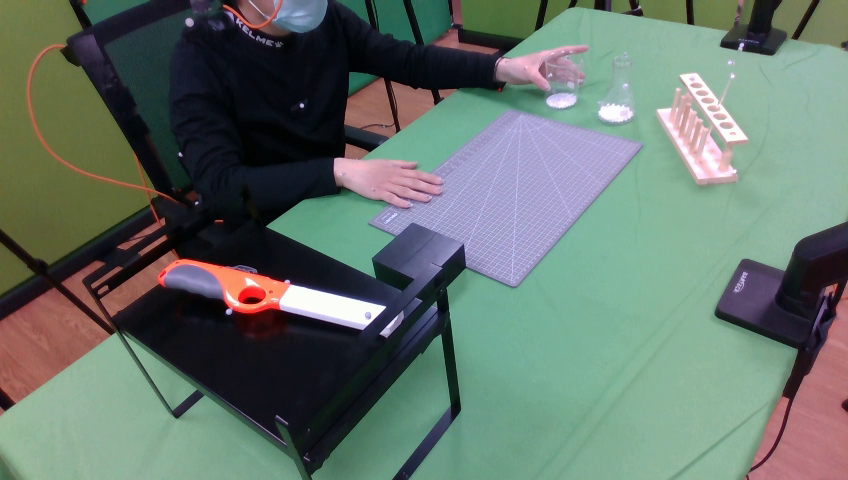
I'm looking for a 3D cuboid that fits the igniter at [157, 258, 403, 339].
[{"bbox_3d":[-0.157,0.059,0.638,0.275,0.025,0.057,11,43,14],"label":"igniter"}]

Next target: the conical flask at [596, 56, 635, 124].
[{"bbox_3d":[0.380,-0.294,1.185,0.075,0.122,0.075,-4,41,4],"label":"conical flask"}]

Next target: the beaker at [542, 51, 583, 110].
[{"bbox_3d":[0.287,-0.330,1.257,0.083,0.101,0.074,20,49,28],"label":"beaker"}]

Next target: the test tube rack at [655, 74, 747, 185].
[{"bbox_3d":[0.491,-0.205,1.092,0.067,0.085,0.241,-5,40,3],"label":"test tube rack"}]

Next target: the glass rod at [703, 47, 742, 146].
[{"bbox_3d":[0.502,-0.237,1.027,0.008,0.200,0.008,-1,49,2],"label":"glass rod"}]
